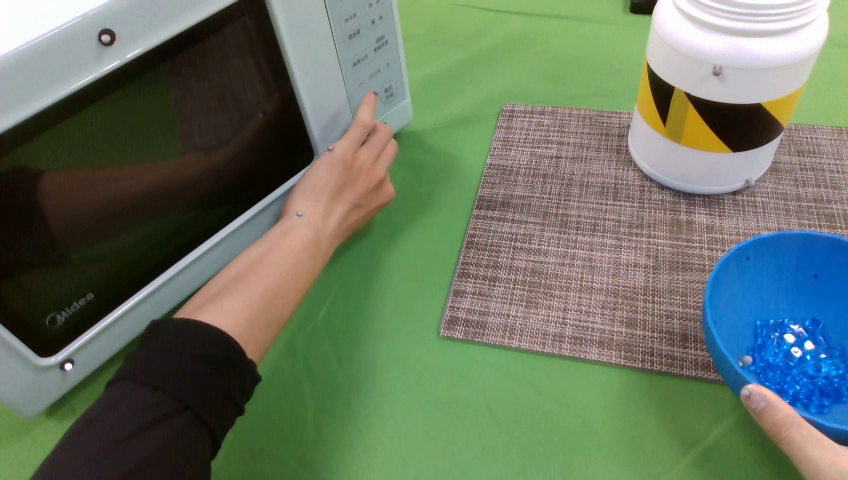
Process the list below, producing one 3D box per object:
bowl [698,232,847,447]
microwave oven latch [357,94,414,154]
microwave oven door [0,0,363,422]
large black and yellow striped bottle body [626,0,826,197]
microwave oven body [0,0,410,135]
[{"bbox_3d":[0.255,0.075,0.404,0.151,0.077,0.150,-4,49,4],"label":"bowl"},{"bbox_3d":[-0.045,-0.121,0.618,0.079,0.030,0.030,-39,56,-23],"label":"microwave oven latch"},{"bbox_3d":[-0.202,-0.053,0.445,0.039,0.246,0.355,31,60,30],"label":"microwave oven door"},{"bbox_3d":[0.253,-0.142,0.519,0.131,0.186,0.129,-4,49,4],"label":"large black and yellow striped bottle body"},{"bbox_3d":[-0.282,-0.141,0.537,0.323,0.263,0.441,32,61,29],"label":"microwave oven body"}]
